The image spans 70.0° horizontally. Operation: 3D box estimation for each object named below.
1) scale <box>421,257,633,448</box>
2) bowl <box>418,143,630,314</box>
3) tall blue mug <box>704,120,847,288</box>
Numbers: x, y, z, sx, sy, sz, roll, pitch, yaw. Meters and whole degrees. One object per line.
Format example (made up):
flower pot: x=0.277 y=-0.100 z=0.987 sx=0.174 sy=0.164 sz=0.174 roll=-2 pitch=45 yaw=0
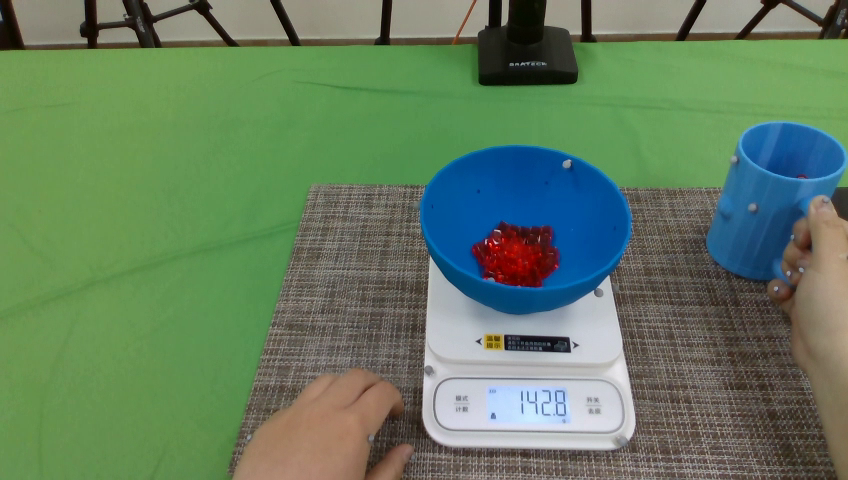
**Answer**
scale: x=0.075 y=0.062 z=0.475 sx=0.148 sy=0.032 sz=0.199 roll=0 pitch=47 yaw=3
bowl: x=0.071 y=0.003 z=0.458 sx=0.151 sy=0.077 sz=0.150 roll=-1 pitch=47 yaw=1
tall blue mug: x=0.291 y=-0.023 z=0.487 sx=0.078 sy=0.109 sz=0.106 roll=-26 pitch=48 yaw=-18
